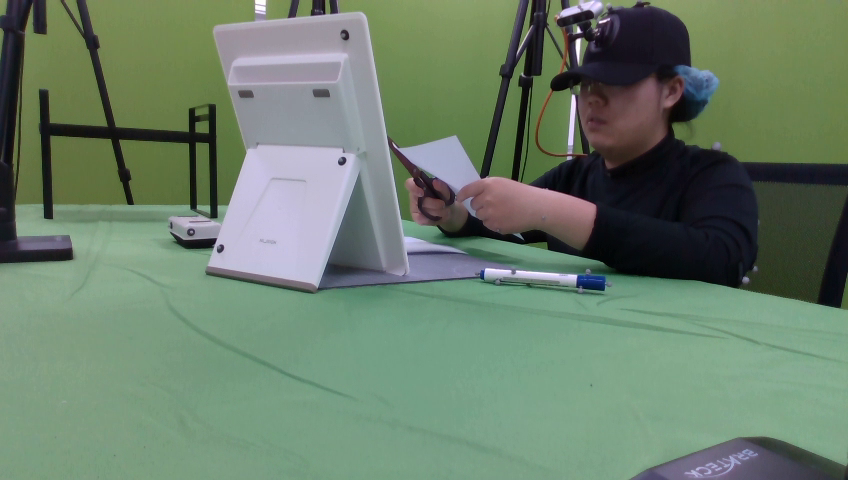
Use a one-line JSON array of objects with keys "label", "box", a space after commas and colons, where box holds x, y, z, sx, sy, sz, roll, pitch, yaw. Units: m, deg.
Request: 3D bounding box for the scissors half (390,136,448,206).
[{"label": "scissors half", "box": [-0.008, -0.114, 0.994, 0.012, 0.040, 0.176, 11, -23, 41]}]

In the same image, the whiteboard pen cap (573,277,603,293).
[{"label": "whiteboard pen cap", "box": [0.186, 0.051, 0.687, 0.033, 0.018, 0.018, 4, 8, 17]}]

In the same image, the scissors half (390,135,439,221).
[{"label": "scissors half", "box": [-0.017, -0.098, 0.985, 0.013, 0.175, 0.040, 5, 45, 39]}]

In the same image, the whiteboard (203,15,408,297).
[{"label": "whiteboard", "box": [-0.166, -0.072, 0.668, 0.216, 0.305, 0.144, 8, 30, 30]}]

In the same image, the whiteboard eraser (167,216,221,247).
[{"label": "whiteboard eraser", "box": [-0.350, -0.013, 0.920, 0.056, 0.042, 0.112, 0, 7, -35]}]

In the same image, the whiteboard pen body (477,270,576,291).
[{"label": "whiteboard pen body", "box": [0.131, 0.048, 0.706, 0.140, 0.017, 0.017, 4, 8, 17]}]
